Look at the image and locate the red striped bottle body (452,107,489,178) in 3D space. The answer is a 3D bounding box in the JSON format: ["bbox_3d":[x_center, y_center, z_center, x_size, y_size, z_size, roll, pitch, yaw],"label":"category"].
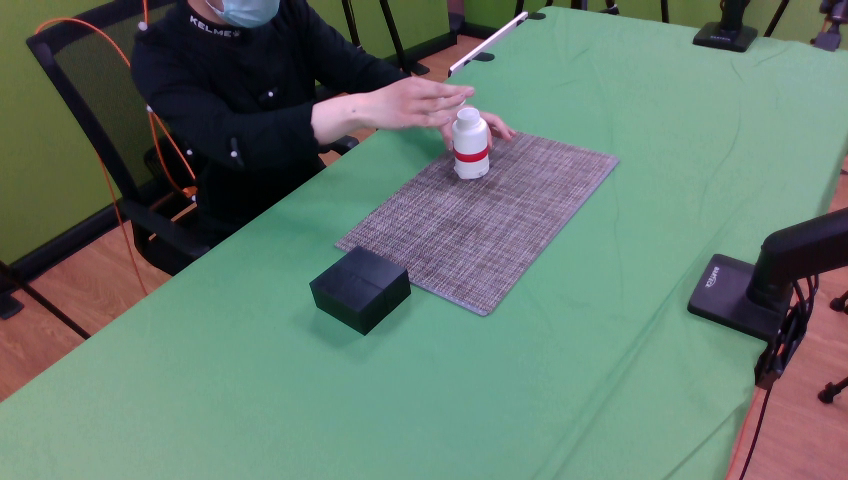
[{"bbox_3d":[0.083,-0.175,1.077,0.063,0.120,0.062,-4,43,5],"label":"red striped bottle body"}]

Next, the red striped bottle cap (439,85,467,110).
[{"bbox_3d":[0.047,-0.235,0.994,0.044,0.018,0.044,-13,46,14],"label":"red striped bottle cap"}]
